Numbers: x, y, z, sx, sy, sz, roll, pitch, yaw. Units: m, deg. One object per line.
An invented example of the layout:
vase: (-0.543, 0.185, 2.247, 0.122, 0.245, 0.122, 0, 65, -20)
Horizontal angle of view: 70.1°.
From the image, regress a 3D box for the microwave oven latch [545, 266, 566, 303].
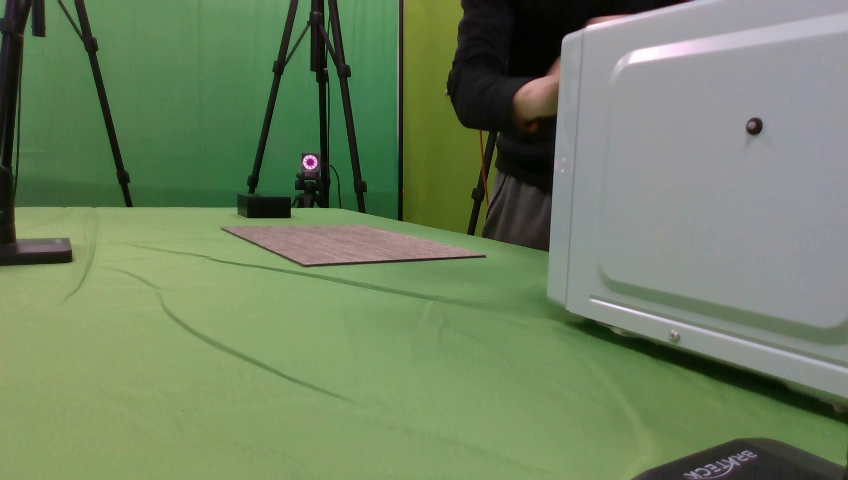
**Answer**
microwave oven latch: (0.148, 0.038, 0.555, 0.079, 0.029, 0.030, -2, 7, -28)

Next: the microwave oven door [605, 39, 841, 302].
microwave oven door: (0.341, -0.070, 0.654, 0.358, 0.243, 0.039, -3, 9, -31)

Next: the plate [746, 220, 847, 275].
plate: (0.408, 0.008, 0.552, 0.209, 0.038, 0.209, 3, 6, 0)

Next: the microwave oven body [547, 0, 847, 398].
microwave oven body: (0.378, -0.046, 0.509, 0.444, 0.260, 0.324, -2, 8, -31)
